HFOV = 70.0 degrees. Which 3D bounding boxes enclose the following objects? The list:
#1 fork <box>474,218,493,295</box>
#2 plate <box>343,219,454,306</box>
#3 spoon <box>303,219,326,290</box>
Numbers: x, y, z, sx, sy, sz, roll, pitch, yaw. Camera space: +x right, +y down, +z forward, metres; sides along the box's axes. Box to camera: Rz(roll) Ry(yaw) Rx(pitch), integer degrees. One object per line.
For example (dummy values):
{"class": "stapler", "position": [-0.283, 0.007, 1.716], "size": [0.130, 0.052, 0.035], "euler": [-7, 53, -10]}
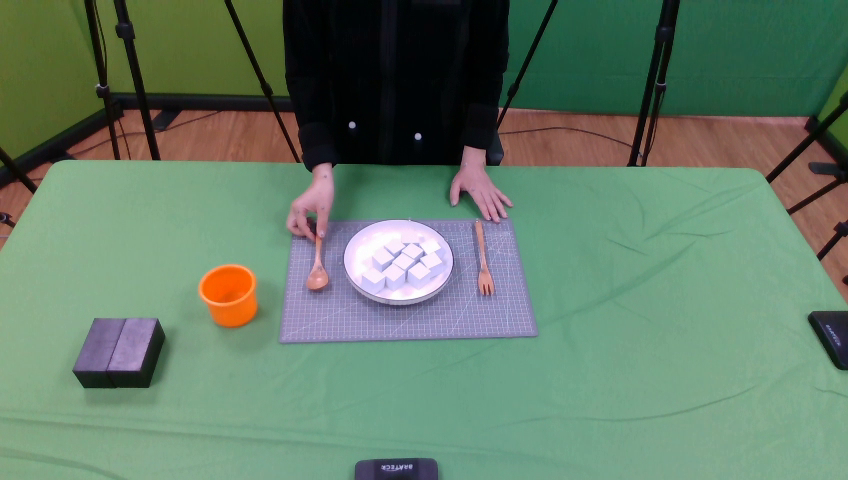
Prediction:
{"class": "fork", "position": [0.112, 0.029, 1.177], "size": [0.028, 0.019, 0.206], "euler": [-3, 48, 0]}
{"class": "plate", "position": [-0.047, 0.045, 1.136], "size": [0.208, 0.039, 0.206], "euler": [2, 46, -2]}
{"class": "spoon", "position": [-0.203, 0.024, 1.153], "size": [0.041, 0.022, 0.192], "euler": [-2, 47, -3]}
